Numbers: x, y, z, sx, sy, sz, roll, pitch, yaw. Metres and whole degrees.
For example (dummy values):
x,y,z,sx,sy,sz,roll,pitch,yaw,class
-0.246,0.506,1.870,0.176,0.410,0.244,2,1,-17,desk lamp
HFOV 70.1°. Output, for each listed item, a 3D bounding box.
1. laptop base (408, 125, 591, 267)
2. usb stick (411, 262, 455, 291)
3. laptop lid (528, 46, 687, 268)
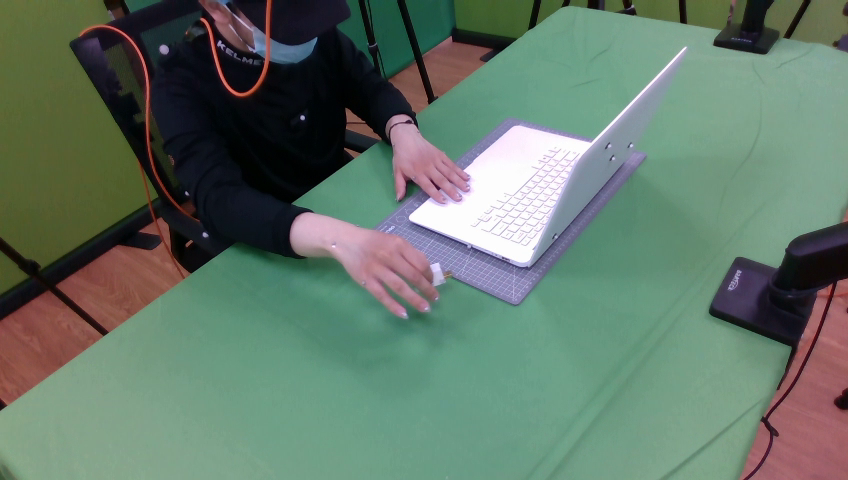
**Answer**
x,y,z,sx,sy,sz,roll,pitch,yaw,class
0.168,-0.092,1.054,0.233,0.023,0.355,21,47,33,laptop base
0.013,0.049,0.842,0.059,0.027,0.021,-14,24,-2,usb stick
0.277,-0.126,0.903,0.013,0.242,0.358,35,53,17,laptop lid
